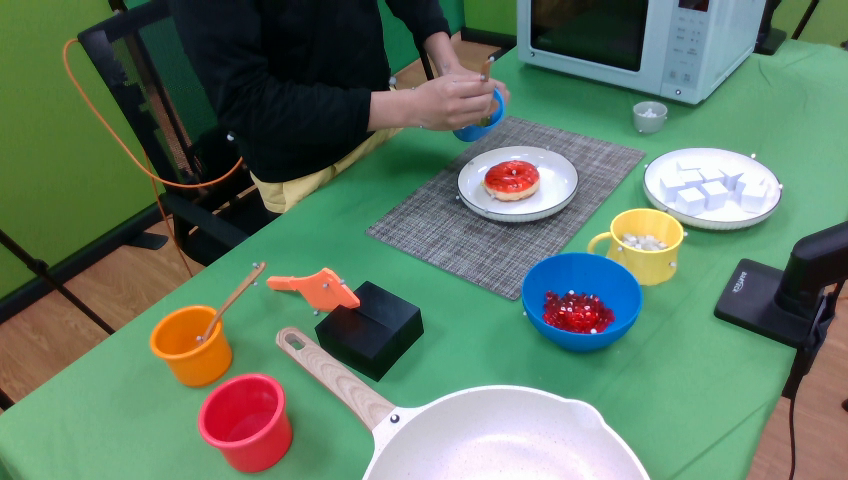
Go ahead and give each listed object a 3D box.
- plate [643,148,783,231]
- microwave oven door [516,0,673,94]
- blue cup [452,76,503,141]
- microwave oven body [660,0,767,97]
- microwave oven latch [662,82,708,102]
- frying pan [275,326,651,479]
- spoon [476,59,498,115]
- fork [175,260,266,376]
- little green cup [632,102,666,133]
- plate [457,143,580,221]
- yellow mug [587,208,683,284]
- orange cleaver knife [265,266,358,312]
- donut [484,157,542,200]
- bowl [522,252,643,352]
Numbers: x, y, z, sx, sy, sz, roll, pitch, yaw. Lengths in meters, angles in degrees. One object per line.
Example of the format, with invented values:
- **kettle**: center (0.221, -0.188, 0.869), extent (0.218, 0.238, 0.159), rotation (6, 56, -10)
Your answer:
- **plate**: center (0.464, -0.080, 0.985), extent (0.207, 0.039, 0.206), rotation (-4, 41, 4)
- **microwave oven door**: center (0.344, -0.458, 1.256), extent (0.353, 0.245, 0.039), rotation (26, 52, 33)
- **blue cup**: center (0.086, -0.220, 1.059), extent (0.093, 0.100, 0.092), rotation (1, 78, -5)
- **microwave oven body**: center (0.473, -0.516, 1.313), extent (0.438, 0.261, 0.327), rotation (26, 51, 34)
- **microwave oven latch**: center (0.518, -0.299, 1.203), extent (0.078, 0.029, 0.030), rotation (29, 53, 36)
- **frying pan**: center (0.003, 0.229, 0.641), extent (0.484, 0.103, 0.308), rotation (34, 54, 28)
- **spoon**: center (0.093, -0.228, 0.912), extent (0.041, 0.194, 0.021), rotation (-26, 77, 2)
- **fork**: center (-0.268, 0.103, 0.792), extent (0.207, 0.019, 0.028), rotation (-51, 41, 16)
- **little green cup**: center (0.434, -0.237, 1.171), extent (0.061, 0.039, 0.061), rotation (-5, 40, 5)
- **plate**: center (0.162, -0.097, 1.042), extent (0.209, 0.038, 0.208), rotation (-4, 40, 4)
- **yellow mug**: center (0.305, 0.009, 0.884), extent (0.131, 0.064, 0.099), rotation (-4, 41, 5)
- **orange cleaver knife**: center (-0.164, 0.073, 0.864), extent (0.210, 0.077, 0.012), rotation (-6, 30, 50)
- **donut**: center (0.153, -0.107, 1.039), extent (0.099, 0.048, 0.098), rotation (-6, 37, 5)
- **bowl**: center (0.204, 0.093, 0.792), extent (0.151, 0.077, 0.150), rotation (-4, 40, 4)
